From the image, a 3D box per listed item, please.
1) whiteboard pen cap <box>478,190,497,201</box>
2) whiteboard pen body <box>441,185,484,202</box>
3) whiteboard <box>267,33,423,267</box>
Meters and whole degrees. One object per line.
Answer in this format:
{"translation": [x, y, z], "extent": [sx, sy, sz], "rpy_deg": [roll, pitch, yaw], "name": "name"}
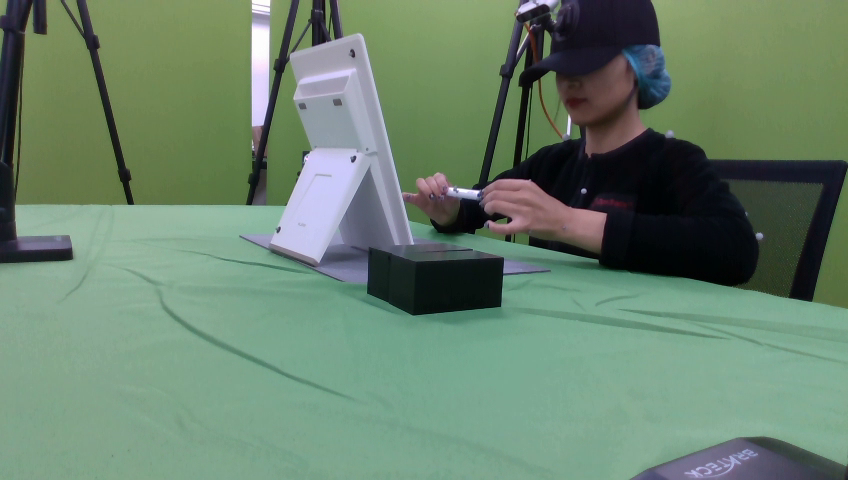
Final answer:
{"translation": [0.099, -0.069, 0.945], "extent": [0.018, 0.018, 0.033], "rpy_deg": [-2, 5, -30], "name": "whiteboard pen cap"}
{"translation": [0.069, -0.076, 0.996], "extent": [0.017, 0.017, 0.140], "rpy_deg": [-2, 11, -29], "name": "whiteboard pen body"}
{"translation": [-0.153, -0.098, 0.819], "extent": [0.144, 0.305, 0.216], "rpy_deg": [-25, 21, -29], "name": "whiteboard"}
